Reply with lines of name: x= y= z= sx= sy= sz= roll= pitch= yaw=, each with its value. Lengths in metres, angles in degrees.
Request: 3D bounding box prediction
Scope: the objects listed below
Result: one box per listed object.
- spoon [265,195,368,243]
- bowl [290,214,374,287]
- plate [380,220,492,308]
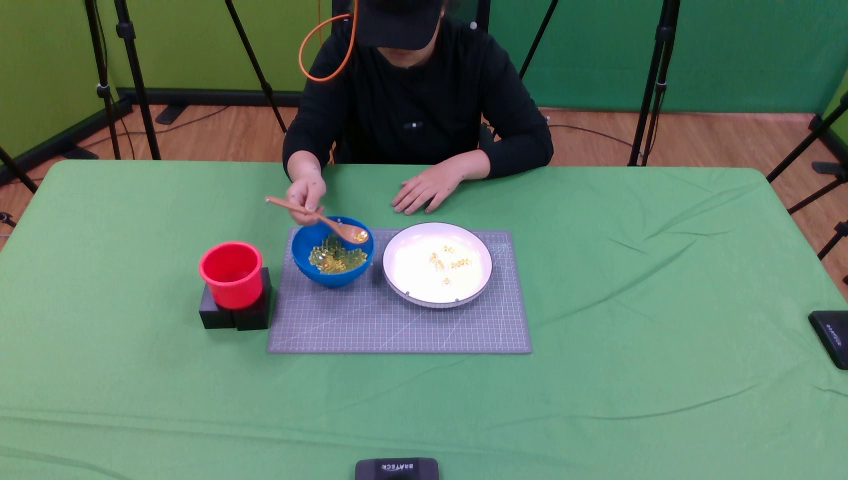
spoon: x=-0.182 y=-0.039 z=1.039 sx=0.195 sy=0.021 sz=0.041 roll=27 pitch=43 yaw=-30
bowl: x=-0.165 y=0.032 z=1.111 sx=0.151 sy=0.077 sz=0.150 roll=2 pitch=46 yaw=-2
plate: x=0.022 y=0.048 z=1.138 sx=0.208 sy=0.039 sz=0.206 roll=2 pitch=46 yaw=-2
